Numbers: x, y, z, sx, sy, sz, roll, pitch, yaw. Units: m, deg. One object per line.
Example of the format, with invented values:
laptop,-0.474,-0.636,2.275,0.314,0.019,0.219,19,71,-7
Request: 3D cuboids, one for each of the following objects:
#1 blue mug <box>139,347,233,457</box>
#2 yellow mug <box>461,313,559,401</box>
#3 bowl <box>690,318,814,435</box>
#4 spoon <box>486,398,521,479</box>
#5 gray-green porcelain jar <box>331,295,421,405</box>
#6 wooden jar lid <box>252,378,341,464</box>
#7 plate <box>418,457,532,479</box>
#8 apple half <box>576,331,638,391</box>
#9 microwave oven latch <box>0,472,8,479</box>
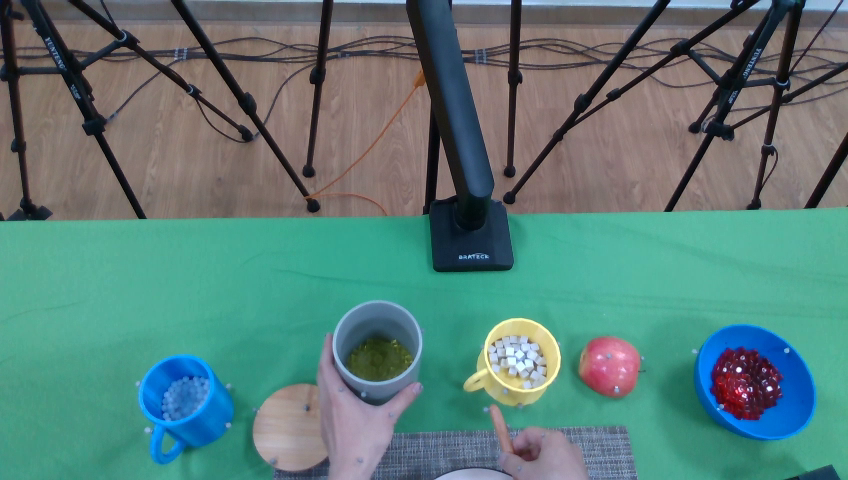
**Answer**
blue mug,-0.285,0.198,0.715,0.082,0.106,0.116,18,61,6
yellow mug,0.107,0.159,0.792,0.131,0.064,0.099,-22,65,-15
bowl,0.413,0.186,0.794,0.151,0.077,0.150,2,61,-3
spoon,0.109,0.277,0.703,0.041,0.022,0.193,-20,87,13
gray-green porcelain jar,-0.059,0.143,0.754,0.106,0.127,0.105,2,60,-3
wooden jar lid,-0.158,0.226,0.756,0.108,0.021,0.107,2,56,-3
plate,0.059,0.358,0.688,0.208,0.039,0.206,2,60,-3
apple half,0.249,0.156,0.813,0.074,0.054,0.080,18,61,9
microwave oven latch,-0.484,0.294,0.662,0.030,0.030,0.078,3,61,-3
